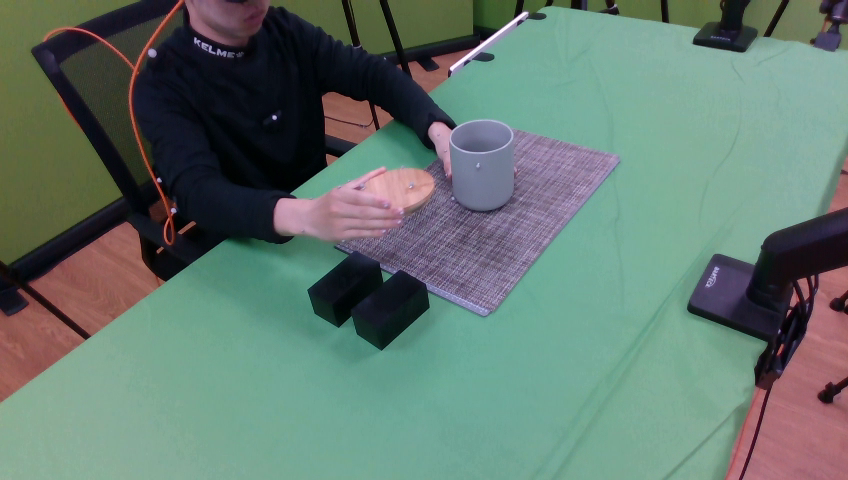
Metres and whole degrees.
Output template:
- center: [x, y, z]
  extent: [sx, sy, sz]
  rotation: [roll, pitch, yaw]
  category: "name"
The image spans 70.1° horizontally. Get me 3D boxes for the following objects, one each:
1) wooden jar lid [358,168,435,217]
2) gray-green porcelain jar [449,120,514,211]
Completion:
- center: [-0.037, -0.065, 0.840]
  extent: [0.108, 0.021, 0.108]
  rotation: [-8, 35, 6]
  category: "wooden jar lid"
- center: [0.098, -0.120, 1.008]
  extent: [0.106, 0.127, 0.105]
  rotation: [-4, 41, 4]
  category: "gray-green porcelain jar"
